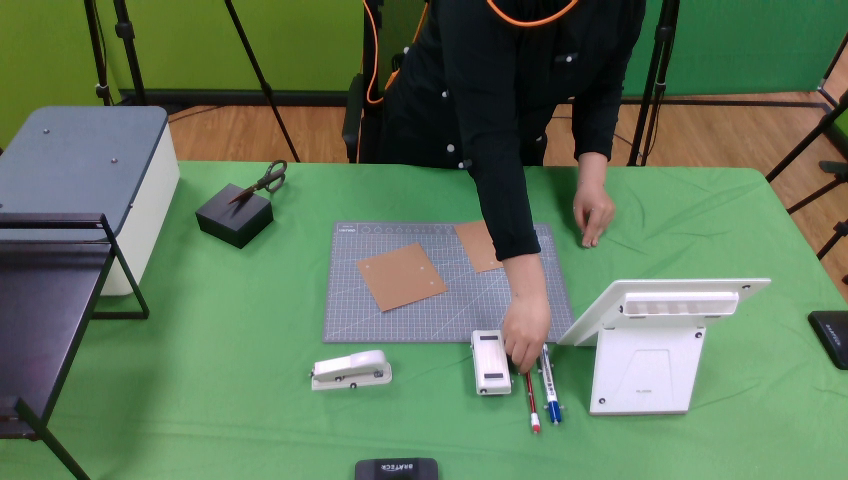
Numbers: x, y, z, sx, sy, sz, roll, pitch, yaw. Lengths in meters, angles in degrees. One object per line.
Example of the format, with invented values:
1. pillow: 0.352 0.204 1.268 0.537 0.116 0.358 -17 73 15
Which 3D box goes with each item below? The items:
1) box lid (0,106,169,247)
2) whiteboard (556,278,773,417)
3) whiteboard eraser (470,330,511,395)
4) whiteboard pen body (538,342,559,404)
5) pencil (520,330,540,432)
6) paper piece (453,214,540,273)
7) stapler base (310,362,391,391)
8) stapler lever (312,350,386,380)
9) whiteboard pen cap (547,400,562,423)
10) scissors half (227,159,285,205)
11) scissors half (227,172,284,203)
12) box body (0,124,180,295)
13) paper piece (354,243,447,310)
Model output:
1. box lid: -0.624 -0.125 1.067 0.263 0.015 0.369 0 46 -3
2. whiteboard: 0.347 0.174 0.903 0.217 0.306 0.143 1 65 -4
3. whiteboard eraser: 0.109 0.202 0.998 0.055 0.042 0.112 0 46 -4
4. whiteboard pen body: 0.206 0.227 0.996 0.017 0.017 0.140 0 45 -4
5. pencil: 0.172 0.227 1.000 0.012 0.012 0.193 2 45 -3
6. paper piece: 0.142 0.003 1.212 0.135 0.004 0.135 -11 47 -14
7. stapler base: -0.119 0.215 0.980 0.131 0.024 0.041 -5 44 -7
8. stapler lever: -0.120 0.199 0.963 0.118 0.040 0.026 -4 44 -8
9. whiteboard pen cap: 0.205 0.269 0.956 0.018 0.018 0.033 -1 48 -5
10. scissors half: -0.336 -0.117 1.218 0.013 0.040 0.175 28 47 12
11. scissors half: -0.340 -0.101 1.230 0.013 0.040 0.175 24 29 16
12. box body: -0.627 -0.075 1.122 0.254 0.161 0.361 1 46 -4
13. paper piece: -0.045 0.066 1.136 0.136 0.009 0.137 -13 46 -23
